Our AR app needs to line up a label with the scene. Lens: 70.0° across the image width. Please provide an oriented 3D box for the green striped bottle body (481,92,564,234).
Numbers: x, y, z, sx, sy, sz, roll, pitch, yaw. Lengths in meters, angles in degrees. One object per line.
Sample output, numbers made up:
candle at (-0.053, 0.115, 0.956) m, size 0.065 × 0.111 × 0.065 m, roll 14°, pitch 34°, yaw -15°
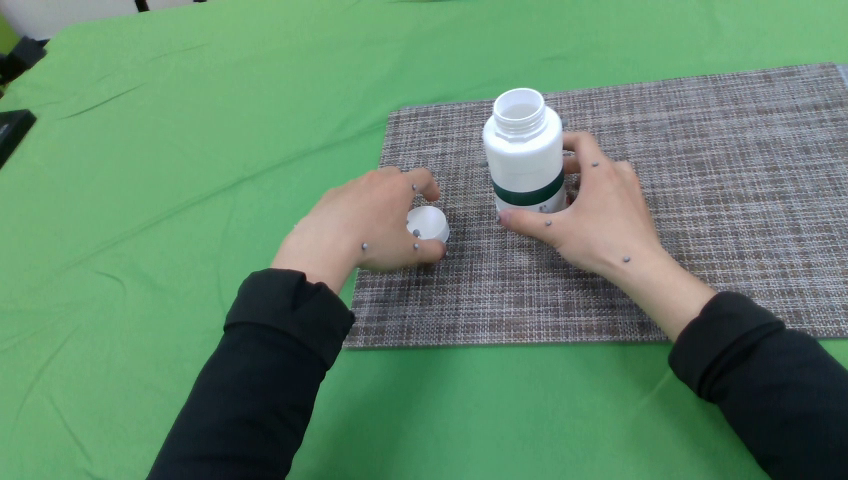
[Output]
green striped bottle body at (0.083, -0.064, 0.505) m, size 0.063 × 0.120 × 0.062 m, roll -8°, pitch 51°, yaw 10°

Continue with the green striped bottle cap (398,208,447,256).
green striped bottle cap at (-0.002, -0.008, 0.552) m, size 0.044 × 0.020 × 0.044 m, roll -3°, pitch 51°, yaw 5°
